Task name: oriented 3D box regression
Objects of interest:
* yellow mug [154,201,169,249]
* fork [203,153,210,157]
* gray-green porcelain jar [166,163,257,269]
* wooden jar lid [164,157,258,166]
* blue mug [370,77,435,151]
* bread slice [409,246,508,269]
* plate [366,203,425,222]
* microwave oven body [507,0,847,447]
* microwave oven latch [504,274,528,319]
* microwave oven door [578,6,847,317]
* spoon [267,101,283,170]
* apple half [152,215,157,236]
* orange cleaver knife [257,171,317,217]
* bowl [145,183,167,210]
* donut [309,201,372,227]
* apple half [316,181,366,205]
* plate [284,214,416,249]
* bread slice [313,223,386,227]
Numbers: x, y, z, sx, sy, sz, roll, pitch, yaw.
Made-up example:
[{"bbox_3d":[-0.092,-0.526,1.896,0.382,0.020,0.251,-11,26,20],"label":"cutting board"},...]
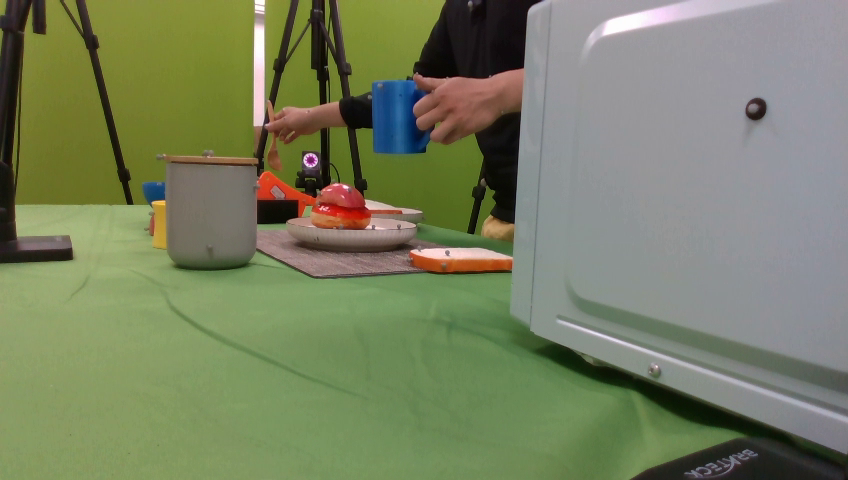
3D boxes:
[{"bbox_3d":[-0.337,-0.023,0.899,0.130,0.064,0.100,8,10,34],"label":"yellow mug"},{"bbox_3d":[-0.480,-0.135,1.411,0.028,0.018,0.207,1,-34,-1],"label":"fork"},{"bbox_3d":[-0.263,-0.032,0.754,0.106,0.126,0.106,2,7,0],"label":"gray-green porcelain jar"},{"bbox_3d":[-0.261,-0.093,0.746,0.108,0.020,0.108,0,9,0],"label":"wooden jar lid"},{"bbox_3d":[-0.027,-0.188,0.904,0.116,0.106,0.083,9,15,44],"label":"blue mug"},{"bbox_3d":[0.048,0.021,0.816,0.132,0.019,0.104,0,7,-24],"label":"bread slice"},{"bbox_3d":[-0.102,-0.053,1.299,0.209,0.038,0.209,2,8,0],"label":"plate"},{"bbox_3d":[0.331,-0.042,0.425,0.444,0.260,0.324,-2,8,-31],"label":"microwave oven body"},{"bbox_3d":[0.100,0.041,0.471,0.079,0.029,0.030,-1,7,-27],"label":"microwave oven latch"},{"bbox_3d":[0.294,-0.067,0.570,0.358,0.243,0.039,-3,9,-31],"label":"microwave oven door"},{"bbox_3d":[-0.369,-0.258,1.483,0.021,0.193,0.042,-21,-22,39],"label":"spoon"},{"bbox_3d":[-0.415,-0.034,1.017,0.081,0.053,0.074,1,10,-9],"label":"apple half"},{"bbox_3d":[-0.282,-0.087,1.342,0.212,0.077,0.012,23,-16,-40],"label":"orange cleaver knife"},{"bbox_3d":[-0.459,-0.069,1.175,0.151,0.077,0.151,3,7,0],"label":"bowl"},{"bbox_3d":[-0.132,-0.042,0.959,0.099,0.048,0.099,2,7,0],"label":"donut"},{"bbox_3d":[-0.128,-0.076,0.954,0.081,0.033,0.081,7,12,-1],"label":"apple half"},{"bbox_3d":[-0.116,-0.014,0.967,0.208,0.039,0.207,2,7,0],"label":"plate"},{"bbox_3d":[-0.121,-0.013,0.971,0.106,0.018,0.135,9,11,41],"label":"bread slice"}]
